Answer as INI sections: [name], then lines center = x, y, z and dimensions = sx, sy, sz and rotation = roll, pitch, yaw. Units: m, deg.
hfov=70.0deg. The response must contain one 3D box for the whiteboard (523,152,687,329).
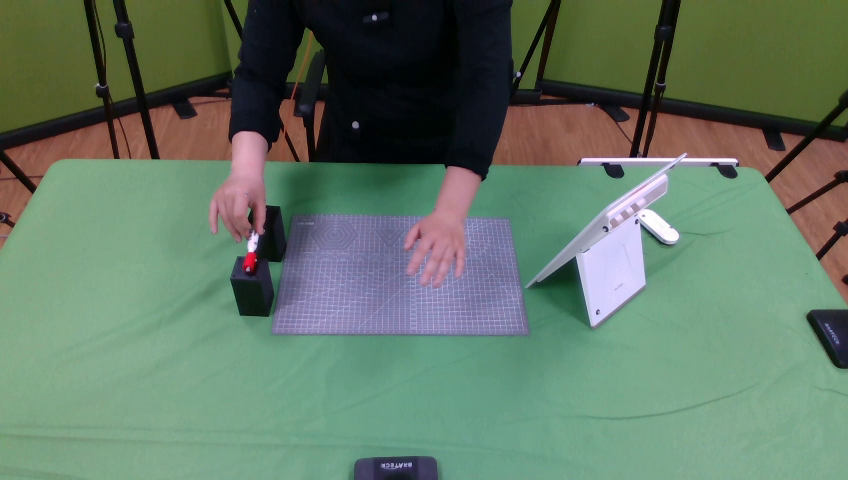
[whiteboard]
center = 0.346, 0.025, 1.046
dimensions = 0.217, 0.306, 0.143
rotation = -30, 74, -29

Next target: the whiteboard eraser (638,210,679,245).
[whiteboard eraser]
center = 0.485, -0.027, 1.260
dimensions = 0.041, 0.019, 0.100
rotation = -20, 50, -22

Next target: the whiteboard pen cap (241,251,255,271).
[whiteboard pen cap]
center = -0.291, 0.035, 1.004
dimensions = 0.017, 0.017, 0.032
rotation = 3, 44, -1

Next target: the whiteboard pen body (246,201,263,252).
[whiteboard pen body]
center = -0.297, -0.019, 1.057
dimensions = 0.017, 0.017, 0.139
rotation = 0, 45, -5
